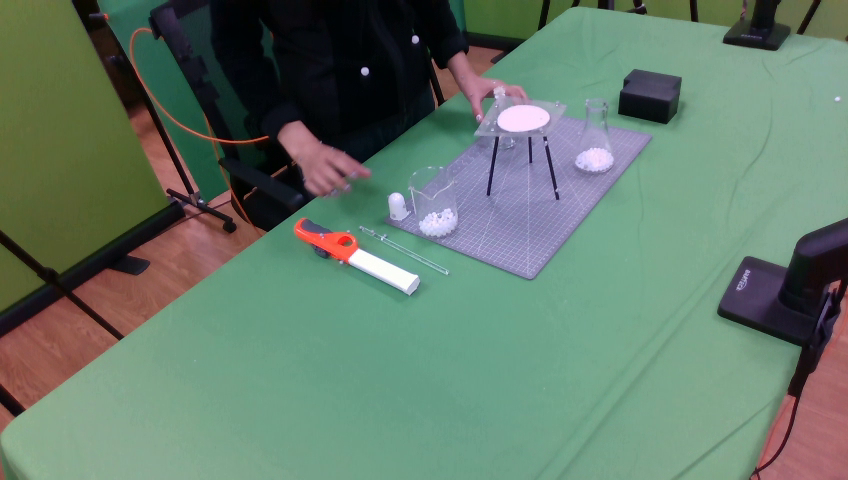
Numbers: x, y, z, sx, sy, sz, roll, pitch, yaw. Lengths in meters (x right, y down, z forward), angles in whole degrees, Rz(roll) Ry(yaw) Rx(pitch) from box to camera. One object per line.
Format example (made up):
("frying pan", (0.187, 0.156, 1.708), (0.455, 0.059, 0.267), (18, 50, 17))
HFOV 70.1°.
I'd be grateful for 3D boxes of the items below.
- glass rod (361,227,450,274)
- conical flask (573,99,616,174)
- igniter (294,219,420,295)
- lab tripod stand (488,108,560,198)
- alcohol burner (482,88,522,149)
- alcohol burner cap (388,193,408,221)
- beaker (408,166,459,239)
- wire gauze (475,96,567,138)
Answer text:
("glass rod", (-0.034, 0.015, 0.984), (0.198, 0.008, 0.008), (26, 52, 35))
("conical flask", (0.302, -0.184, 1.061), (0.075, 0.122, 0.075), (-5, 40, 5))
("igniter", (-0.118, 0.022, 0.977), (0.274, 0.025, 0.057), (24, 60, 34))
("lab tripod stand", (0.173, -0.150, 1.037), (0.148, 0.132, 0.147), (-7, 38, 6))
("alcohol burner", (0.149, -0.237, 1.160), (0.078, 0.119, 0.077), (-4, 39, 4))
("alcohol burner cap", (-0.047, -0.059, 1.043), (0.034, 0.048, 0.033), (-6, 41, 5))
("beaker", (0.018, -0.058, 0.984), (0.074, 0.101, 0.083), (-6, 41, 5))
("wire gauze", (0.161, -0.201, 0.994), (0.121, 0.011, 0.125), (12, 43, 23))
